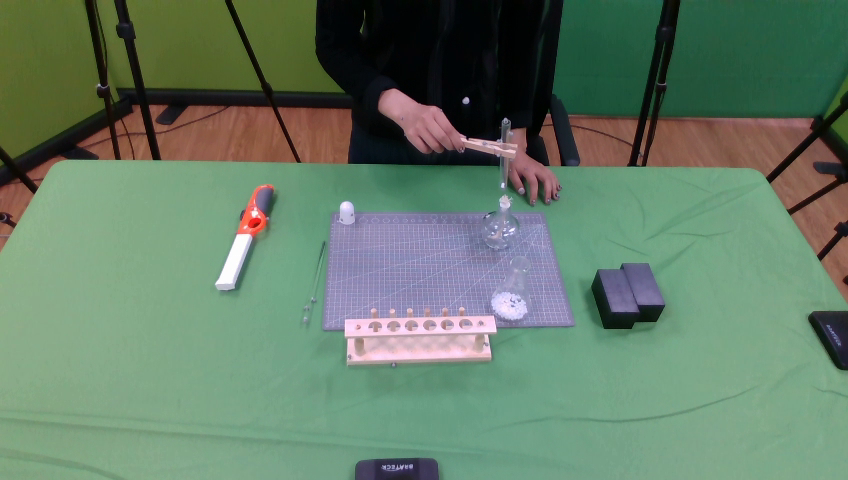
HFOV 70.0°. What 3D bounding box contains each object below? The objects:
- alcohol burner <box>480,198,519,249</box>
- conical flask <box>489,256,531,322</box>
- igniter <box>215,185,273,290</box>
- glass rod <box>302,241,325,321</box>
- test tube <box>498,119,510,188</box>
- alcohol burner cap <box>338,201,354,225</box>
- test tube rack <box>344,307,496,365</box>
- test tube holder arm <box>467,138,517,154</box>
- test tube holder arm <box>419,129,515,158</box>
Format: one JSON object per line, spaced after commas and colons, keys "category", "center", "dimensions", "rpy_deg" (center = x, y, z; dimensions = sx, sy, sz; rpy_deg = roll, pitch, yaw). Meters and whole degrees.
{"category": "alcohol burner", "center": [0.150, -0.039, 1.182], "dimensions": [0.078, 0.119, 0.077], "rpy_deg": [3, 47, -4]}
{"category": "conical flask", "center": [0.158, 0.081, 1.061], "dimensions": [0.075, 0.122, 0.075], "rpy_deg": [2, 46, -2]}
{"category": "igniter", "center": [-0.347, -0.014, 1.182], "dimensions": [0.057, 0.025, 0.275], "rpy_deg": [-1, 45, 8]}
{"category": "glass rod", "center": [-0.204, 0.072, 1.124], "dimensions": [0.008, 0.008, 0.198], "rpy_deg": [4, 43, 1]}
{"category": "test tube", "center": [0.140, -0.148, 1.064], "dimensions": [0.017, 0.151, 0.017], "rpy_deg": [-2, 48, 2]}
{"category": "alcohol burner cap", "center": [-0.159, -0.056, 1.224], "dimensions": [0.034, 0.048, 0.033], "rpy_deg": [2, 46, -2]}
{"category": "test tube rack", "center": [-0.009, 0.154, 1.007], "dimensions": [0.242, 0.085, 0.066], "rpy_deg": [-1, 46, -5]}
{"category": "test tube holder arm", "center": [0.118, -0.165, 1.061], "dimensions": [0.088, 0.015, 0.010], "rpy_deg": [9, 47, 10]}
{"category": "test tube holder arm", "center": [0.074, -0.171, 1.068], "dimensions": [0.178, 0.015, 0.013], "rpy_deg": [15, 48, 15]}
